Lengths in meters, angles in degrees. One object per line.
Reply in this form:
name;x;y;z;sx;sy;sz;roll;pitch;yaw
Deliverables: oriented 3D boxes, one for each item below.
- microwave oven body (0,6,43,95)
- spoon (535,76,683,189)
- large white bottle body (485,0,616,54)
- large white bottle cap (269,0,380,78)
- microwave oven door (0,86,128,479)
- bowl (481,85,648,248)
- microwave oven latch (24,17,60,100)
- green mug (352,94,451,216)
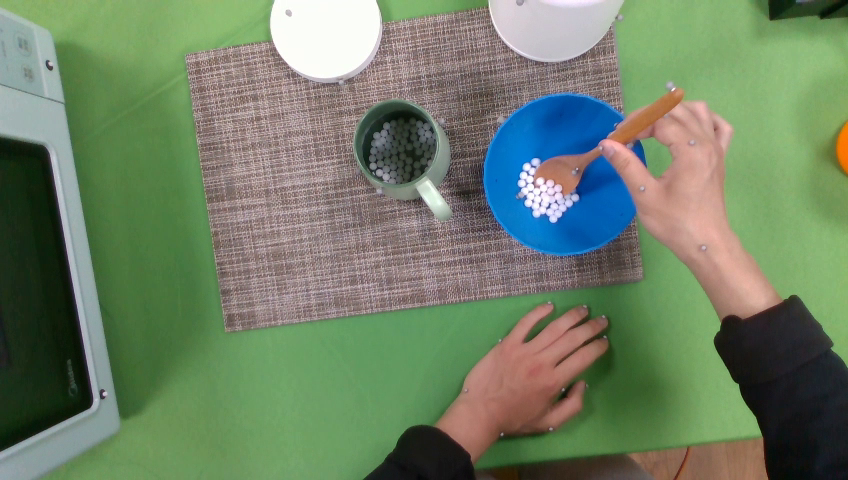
microwave oven body;-0.525;0.018;0.546;0.326;0.260;0.442;-10;93;3
spoon;0.156;-0.088;0.533;0.041;0.194;0.021;46;66;-3
large white bottle body;0.119;-0.255;0.532;0.130;0.185;0.130;0;89;4
large white bottle cap;-0.104;-0.228;0.629;0.115;0.018;0.115;0;92;3
microwave oven door;-0.374;0.035;0.533;0.039;0.244;0.356;-10;92;4
bowl;0.131;-0.068;0.594;0.151;0.077;0.151;0;93;4
microwave oven latch;-0.402;-0.185;0.625;0.030;0.029;0.079;-9;93;3
green mug;-0.013;-0.078;0.589;0.092;0.105;0.125;-35;90;4
